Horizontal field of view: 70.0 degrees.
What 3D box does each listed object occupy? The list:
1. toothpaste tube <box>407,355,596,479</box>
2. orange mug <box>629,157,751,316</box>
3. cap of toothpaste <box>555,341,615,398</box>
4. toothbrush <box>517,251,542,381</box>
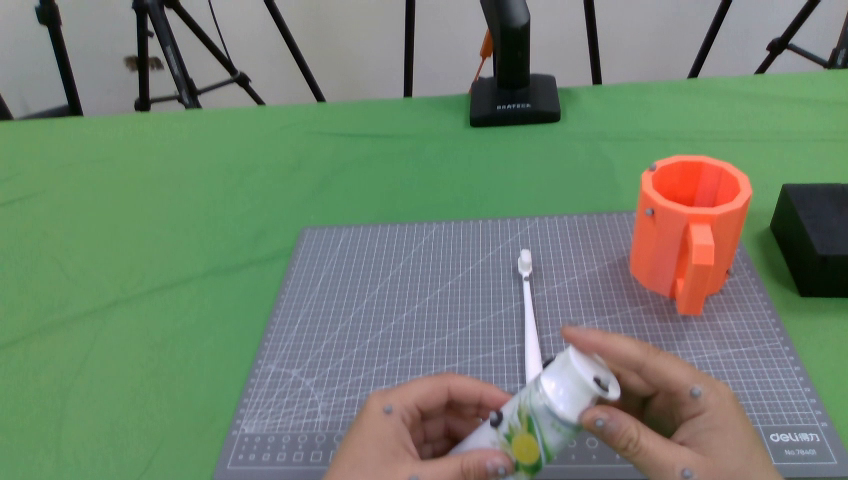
[{"bbox_3d":[0.039,0.125,0.350,0.055,0.165,0.034,43,23,14],"label":"toothpaste tube"},{"bbox_3d":[0.226,0.000,0.521,0.083,0.102,0.125,3,37,13],"label":"orange mug"},{"bbox_3d":[0.085,0.070,0.319,0.037,0.011,0.037,32,24,-16],"label":"cap of toothpaste"},{"bbox_3d":[0.091,0.073,0.520,0.014,0.017,0.180,7,42,-1],"label":"toothbrush"}]
